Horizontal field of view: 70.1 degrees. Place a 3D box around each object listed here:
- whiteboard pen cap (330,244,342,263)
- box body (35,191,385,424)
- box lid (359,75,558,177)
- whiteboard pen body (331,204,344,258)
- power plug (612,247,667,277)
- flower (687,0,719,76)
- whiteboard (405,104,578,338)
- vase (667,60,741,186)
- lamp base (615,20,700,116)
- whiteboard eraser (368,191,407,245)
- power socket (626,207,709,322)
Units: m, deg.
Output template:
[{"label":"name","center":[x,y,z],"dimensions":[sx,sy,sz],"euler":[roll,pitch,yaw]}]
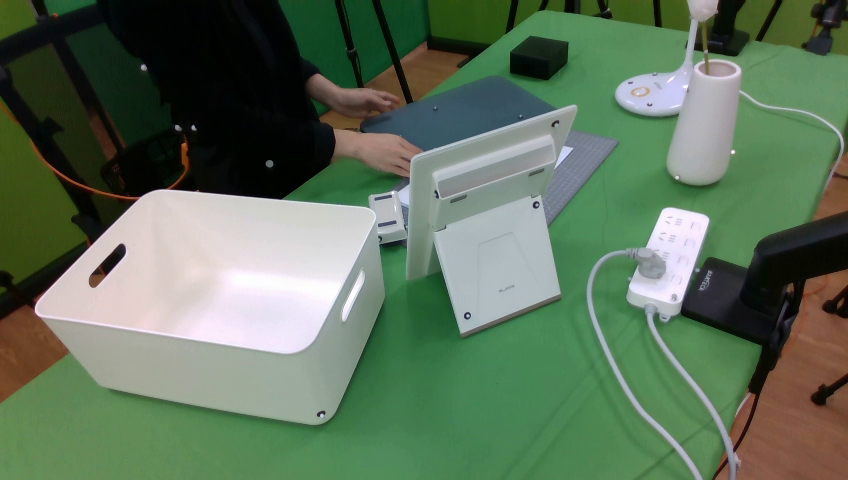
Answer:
[{"label":"whiteboard pen cap","center":[-0.142,0.021,0.975],"dimensions":[0.018,0.018,0.033],"euler":[-7,39,0]},{"label":"box body","center":[-0.254,0.081,0.807],"dimensions":[0.363,0.161,0.253],"euler":[5,42,14]},{"label":"box lid","center":[0.074,-0.249,1.267],"dimensions":[0.373,0.015,0.261],"euler":[-23,42,-18]},{"label":"whiteboard pen body","center":[-0.146,-0.016,1.020],"dimensions":[0.017,0.017,0.140],"euler":[-6,40,1]},{"label":"power plug","center":[0.306,0.031,0.852],"dimensions":[0.072,0.053,0.035],"euler":[21,48,37]},{"label":"flower","center":[0.436,-0.242,0.934],"dimensions":[0.038,0.364,0.043],"euler":[-24,49,8]},{"label":"whiteboard","center":[0.102,0.003,0.787],"dimensions":[0.218,0.306,0.143],"euler":[-19,62,-14]},{"label":"vase","center":[0.463,-0.189,0.994],"dimensions":[0.098,0.201,0.097],"euler":[-4,40,4]},{"label":"lamp base","center":[0.484,-0.364,1.211],"dimensions":[0.180,0.181,0.159],"euler":[-15,41,-14]},{"label":"whiteboard eraser","center":[-0.061,-0.035,1.005],"dimensions":[0.056,0.042,0.112],"euler":[-9,40,-4]},{"label":"power socket","center":[0.360,0.026,0.886],"dimensions":[0.072,0.033,0.227],"euler":[17,46,27]}]
